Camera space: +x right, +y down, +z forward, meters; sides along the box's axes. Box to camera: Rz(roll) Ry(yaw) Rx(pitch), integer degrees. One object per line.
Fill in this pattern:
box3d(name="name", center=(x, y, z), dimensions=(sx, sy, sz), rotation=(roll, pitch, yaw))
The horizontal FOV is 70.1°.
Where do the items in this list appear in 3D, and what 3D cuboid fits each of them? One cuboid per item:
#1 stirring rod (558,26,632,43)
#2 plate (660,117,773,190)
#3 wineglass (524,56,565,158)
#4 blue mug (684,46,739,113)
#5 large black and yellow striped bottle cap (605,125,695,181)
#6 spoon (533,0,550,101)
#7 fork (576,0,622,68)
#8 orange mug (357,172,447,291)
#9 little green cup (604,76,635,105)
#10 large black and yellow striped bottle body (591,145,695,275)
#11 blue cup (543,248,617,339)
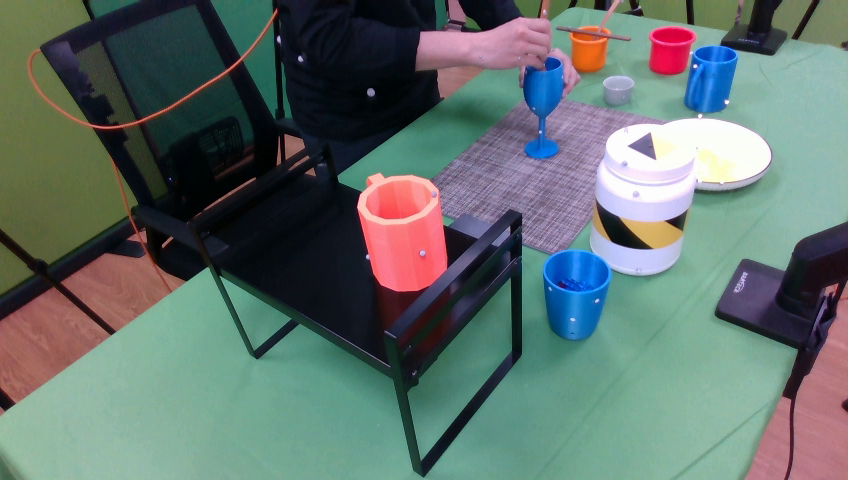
box3d(name="stirring rod", center=(0.381, -0.462, 1.357), dimensions=(0.175, 0.006, 0.014), rotation=(22, 49, 29))
box3d(name="plate", center=(0.495, -0.149, 1.063), dimensions=(0.209, 0.038, 0.208), rotation=(-5, 40, 5))
box3d(name="wineglass", center=(0.218, -0.240, 1.102), dimensions=(0.074, 0.173, 0.073), rotation=(-4, 40, 4))
box3d(name="blue mug", center=(0.556, -0.310, 1.190), dimensions=(0.117, 0.106, 0.081), rotation=(-32, 46, -25))
box3d(name="large black and yellow striped bottle cap", center=(0.304, -0.120, 0.817), dimensions=(0.115, 0.019, 0.114), rotation=(-3, 41, 3))
box3d(name="spoon", center=(0.203, -0.324, 1.035), dimensions=(0.042, 0.194, 0.021), rotation=(-31, 45, -24))
box3d(name="fork", center=(0.409, -0.484, 1.381), dimensions=(0.028, 0.019, 0.207), rotation=(37, 101, 45))
box3d(name="orange mug", center=(-0.030, -0.018, 0.669), dimensions=(0.084, 0.101, 0.125), rotation=(-23, 47, -16))
box3d(name="little green cup", center=(0.408, -0.312, 1.266), dimensions=(0.061, 0.039, 0.061), rotation=(-4, 40, 4))
box3d(name="large black and yellow striped bottle body", center=(0.313, -0.056, 0.870), dimensions=(0.131, 0.185, 0.130), rotation=(-4, 40, 4))
box3d(name="blue cup", center=(0.199, 0.076, 0.797), dimensions=(0.092, 0.100, 0.092), rotation=(-4, 39, 4))
